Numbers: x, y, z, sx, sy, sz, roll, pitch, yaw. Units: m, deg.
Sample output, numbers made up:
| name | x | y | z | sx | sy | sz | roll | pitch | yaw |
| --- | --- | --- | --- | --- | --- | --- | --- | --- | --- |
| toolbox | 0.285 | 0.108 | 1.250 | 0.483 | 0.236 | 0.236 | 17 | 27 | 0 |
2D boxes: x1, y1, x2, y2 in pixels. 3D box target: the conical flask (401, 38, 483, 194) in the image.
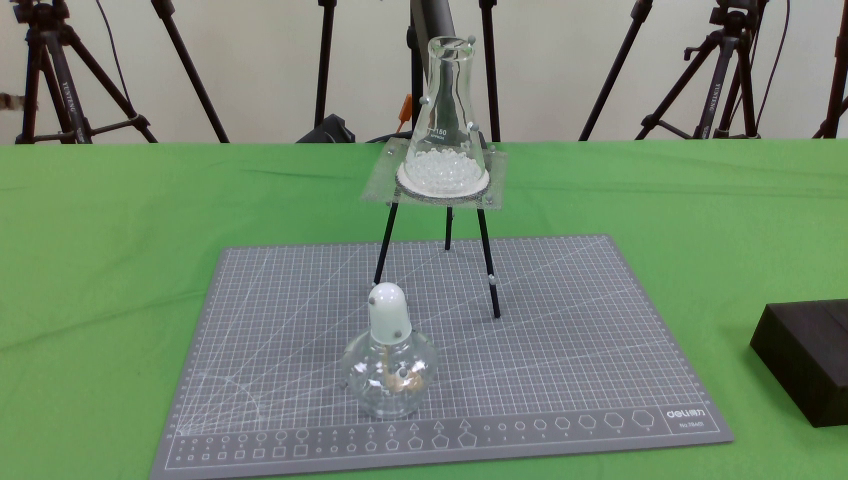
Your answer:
| name | x | y | z | sx | sy | sz | roll | pitch | yaw |
| --- | --- | --- | --- | --- | --- | --- | --- | --- | --- |
| conical flask | 0.018 | -0.107 | 0.520 | 0.075 | 0.123 | 0.074 | 2 | 35 | -1 |

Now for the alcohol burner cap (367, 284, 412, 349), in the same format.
| name | x | y | z | sx | sy | sz | roll | pitch | yaw |
| --- | --- | --- | --- | --- | --- | --- | --- | --- | --- |
| alcohol burner cap | -0.027 | 0.055 | 0.457 | 0.034 | 0.048 | 0.033 | -4 | 38 | 3 |

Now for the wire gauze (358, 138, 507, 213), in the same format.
| name | x | y | z | sx | sy | sz | roll | pitch | yaw |
| --- | --- | --- | --- | --- | --- | --- | --- | --- | --- |
| wire gauze | 0.013 | -0.060 | 0.557 | 0.121 | 0.011 | 0.124 | 6 | 37 | 7 |

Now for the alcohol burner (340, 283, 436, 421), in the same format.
| name | x | y | z | sx | sy | sz | roll | pitch | yaw |
| --- | --- | --- | --- | --- | --- | --- | --- | --- | --- |
| alcohol burner | -0.029 | 0.084 | 0.478 | 0.078 | 0.120 | 0.077 | 1 | 33 | 0 |

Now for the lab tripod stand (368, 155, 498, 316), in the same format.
| name | x | y | z | sx | sy | sz | roll | pitch | yaw |
| --- | --- | --- | --- | --- | --- | --- | --- | --- | --- |
| lab tripod stand | 0.018 | -0.005 | 0.594 | 0.148 | 0.132 | 0.147 | 3 | 34 | -2 |
